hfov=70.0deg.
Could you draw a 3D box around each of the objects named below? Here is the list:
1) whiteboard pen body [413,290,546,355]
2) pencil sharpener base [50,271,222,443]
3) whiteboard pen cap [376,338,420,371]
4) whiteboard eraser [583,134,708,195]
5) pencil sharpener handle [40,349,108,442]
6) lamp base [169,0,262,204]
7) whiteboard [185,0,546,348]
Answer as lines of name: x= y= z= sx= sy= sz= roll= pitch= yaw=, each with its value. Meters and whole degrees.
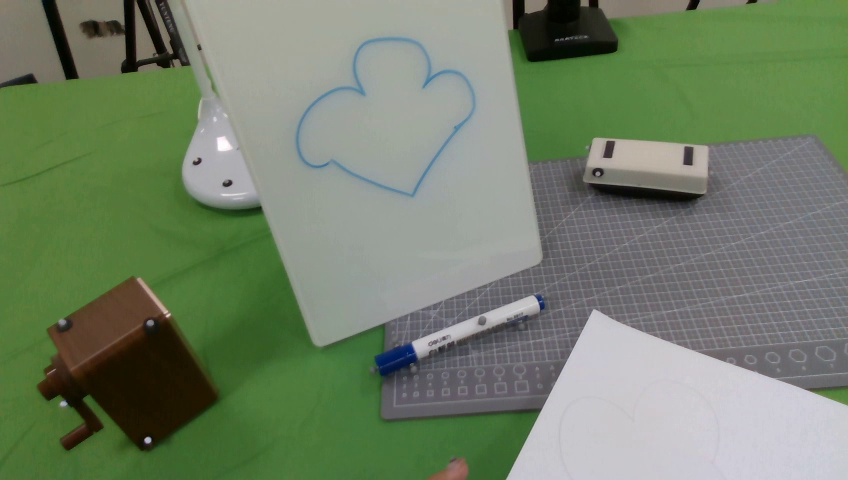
whiteboard pen body: x=0.034 y=0.070 z=0.489 sx=0.141 sy=0.017 sz=0.017 roll=-20 pitch=45 yaw=-10
pencil sharpener base: x=-0.211 y=0.090 z=0.451 sx=0.076 sy=0.108 sz=0.061 roll=-36 pitch=51 yaw=-25
whiteboard pen cap: x=-0.020 y=0.090 z=0.478 sx=0.033 sy=0.018 sz=0.018 roll=-21 pitch=45 yaw=-10
whiteboard eraser: x=0.218 y=-0.074 z=0.596 sx=0.112 sy=0.042 sz=0.055 roll=9 pitch=47 yaw=17
pencil sharpener handle: x=-0.248 y=0.110 z=0.418 sx=0.030 sy=0.068 sz=0.035 roll=-37 pitch=38 yaw=-25
lamp base: x=-0.213 y=-0.156 z=0.648 sx=0.177 sy=0.182 sz=0.160 roll=26 pitch=54 yaw=34
whiteboard: x=-0.043 y=-0.103 z=0.521 sx=0.217 sy=0.308 sz=0.142 roll=-20 pitch=26 yaw=-10
